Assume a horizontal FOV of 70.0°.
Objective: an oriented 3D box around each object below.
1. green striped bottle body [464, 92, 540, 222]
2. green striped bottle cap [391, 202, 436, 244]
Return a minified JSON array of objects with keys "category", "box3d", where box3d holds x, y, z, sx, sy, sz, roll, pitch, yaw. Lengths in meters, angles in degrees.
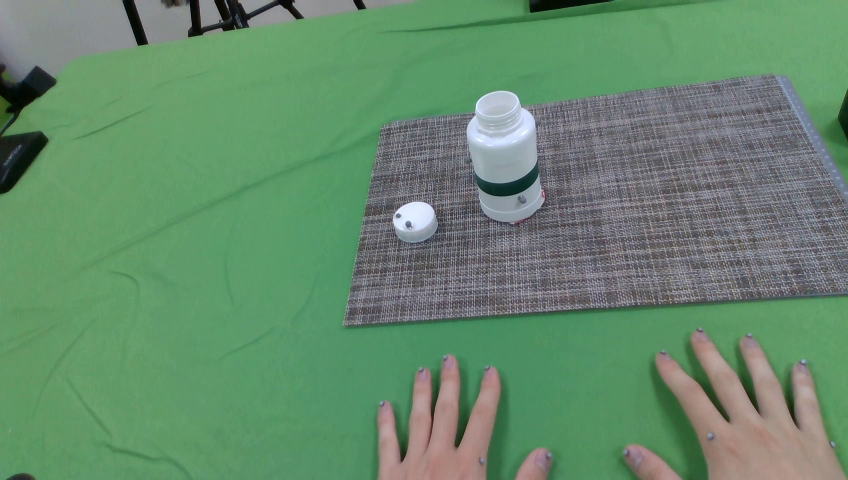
[{"category":"green striped bottle body","box3d":[0.074,-0.079,0.570,0.063,0.120,0.062,-8,47,9]},{"category":"green striped bottle cap","box3d":[-0.010,-0.018,0.612,0.044,0.020,0.044,-6,47,7]}]
